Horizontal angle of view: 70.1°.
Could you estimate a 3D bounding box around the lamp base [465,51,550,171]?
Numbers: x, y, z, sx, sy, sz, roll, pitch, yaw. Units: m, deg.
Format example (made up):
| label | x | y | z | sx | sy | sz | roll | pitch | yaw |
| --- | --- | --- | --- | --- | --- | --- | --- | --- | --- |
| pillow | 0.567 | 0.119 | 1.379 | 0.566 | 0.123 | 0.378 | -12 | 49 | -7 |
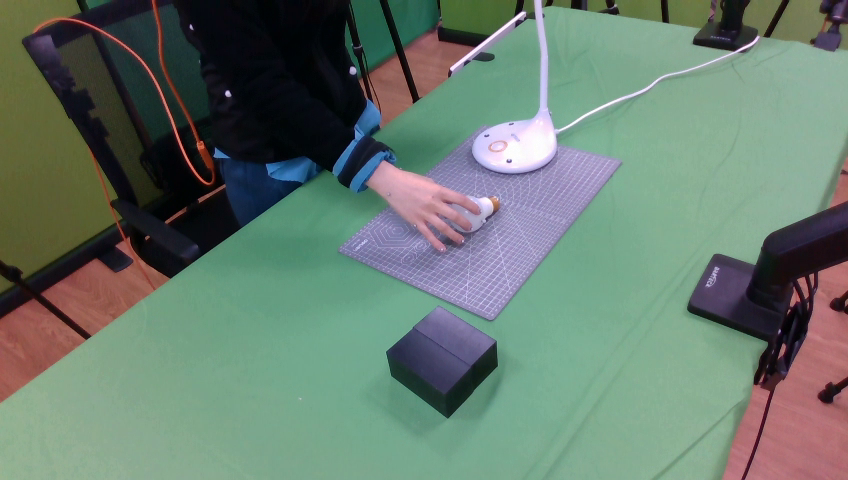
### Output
| label | x | y | z | sx | sy | sz | roll | pitch | yaw |
| --- | --- | --- | --- | --- | --- | --- | --- | --- | --- |
| lamp base | 0.159 | -0.243 | 1.103 | 0.180 | 0.181 | 0.159 | -31 | 46 | -29 |
